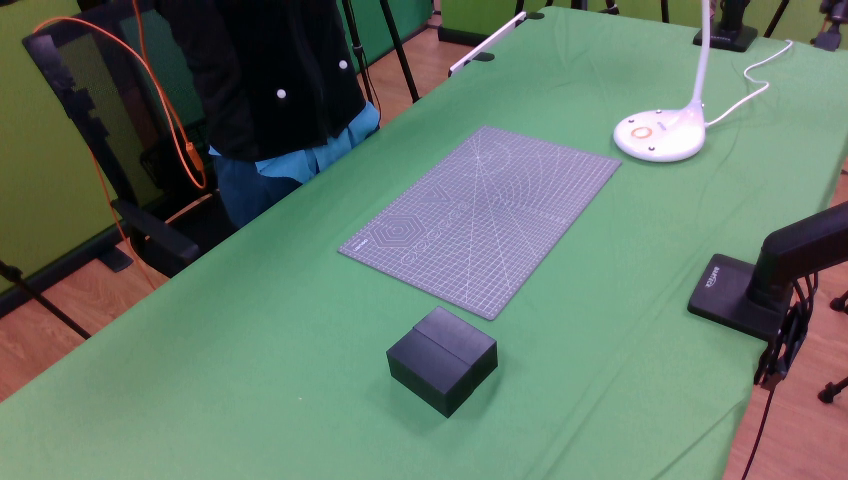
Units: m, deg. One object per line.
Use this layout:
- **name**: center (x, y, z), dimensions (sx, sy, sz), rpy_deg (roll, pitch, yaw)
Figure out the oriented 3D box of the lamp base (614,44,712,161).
- **lamp base**: center (0.441, -0.257, 1.081), dimensions (0.180, 0.181, 0.159), rpy_deg (-15, 41, -12)
